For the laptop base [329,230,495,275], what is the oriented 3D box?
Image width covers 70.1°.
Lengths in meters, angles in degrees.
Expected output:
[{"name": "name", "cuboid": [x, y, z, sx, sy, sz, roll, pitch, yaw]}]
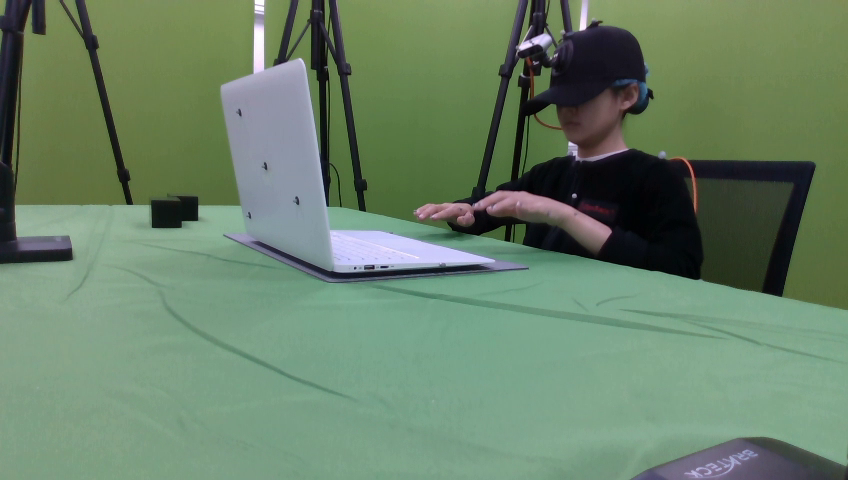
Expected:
[{"name": "laptop base", "cuboid": [-0.093, 0.015, 0.883, 0.237, 0.023, 0.352, 3, 6, -33]}]

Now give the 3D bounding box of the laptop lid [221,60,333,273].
[{"name": "laptop lid", "cuboid": [-0.205, -0.098, 0.794, 0.013, 0.241, 0.355, -13, 16, -30]}]
